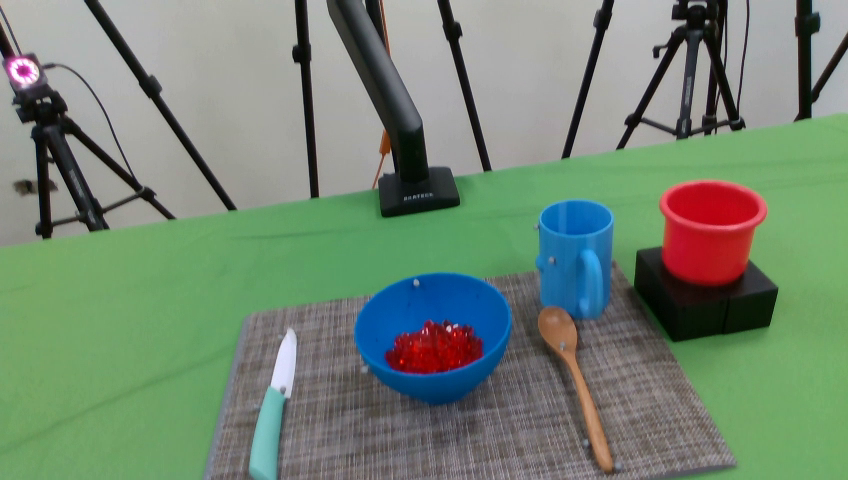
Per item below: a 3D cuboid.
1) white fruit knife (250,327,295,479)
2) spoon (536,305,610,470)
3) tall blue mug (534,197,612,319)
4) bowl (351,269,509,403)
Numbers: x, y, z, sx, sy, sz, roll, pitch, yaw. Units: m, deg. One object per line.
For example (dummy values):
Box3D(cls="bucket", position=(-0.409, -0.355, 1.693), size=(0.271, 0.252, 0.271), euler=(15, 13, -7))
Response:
Box3D(cls="white fruit knife", position=(-0.148, 0.155, 0.609), size=(0.027, 0.016, 0.205), euler=(17, 28, -15))
Box3D(cls="spoon", position=(0.142, 0.130, 0.574), size=(0.042, 0.022, 0.192), euler=(7, 32, -9))
Box3D(cls="tall blue mug", position=(0.170, 0.025, 0.648), size=(0.078, 0.109, 0.106), euler=(-24, 36, -24))
Box3D(cls="bowl", position=(0.010, 0.105, 0.591), size=(0.151, 0.077, 0.150), euler=(-6, 33, 4))
